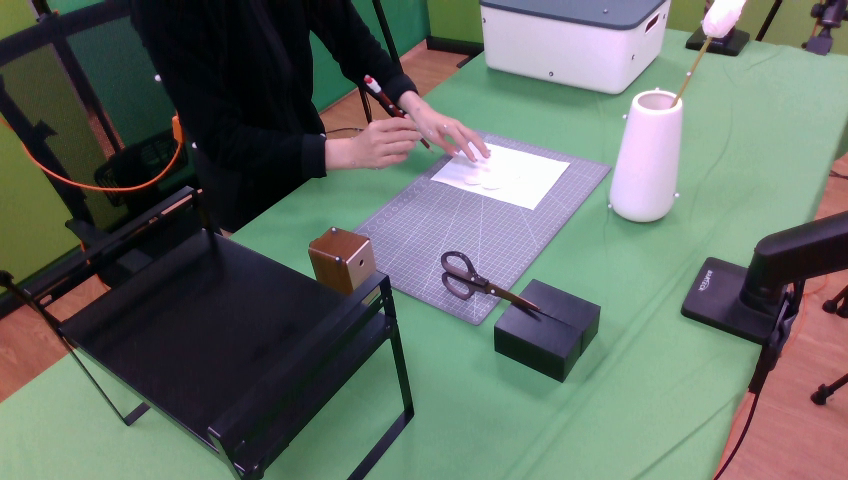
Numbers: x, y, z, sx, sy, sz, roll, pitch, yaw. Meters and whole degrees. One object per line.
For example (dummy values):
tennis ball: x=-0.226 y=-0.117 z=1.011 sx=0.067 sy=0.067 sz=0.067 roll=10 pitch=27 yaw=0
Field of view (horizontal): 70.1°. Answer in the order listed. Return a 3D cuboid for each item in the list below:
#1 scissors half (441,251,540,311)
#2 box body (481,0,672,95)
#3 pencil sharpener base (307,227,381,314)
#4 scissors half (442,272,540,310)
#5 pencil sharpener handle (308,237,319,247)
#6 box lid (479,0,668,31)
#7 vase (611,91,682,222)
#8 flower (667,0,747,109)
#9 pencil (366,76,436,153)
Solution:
scissors half: x=0.087 y=0.056 z=0.824 sx=0.013 sy=0.040 sz=0.173 roll=-30 pitch=44 yaw=-35
box body: x=0.341 y=-0.480 z=1.381 sx=0.361 sy=0.161 sz=0.255 roll=22 pitch=48 yaw=30
pencil sharpener base: x=-0.116 y=0.043 z=0.875 sx=0.076 sy=0.107 sz=0.061 roll=18 pitch=47 yaw=28
scissors half: x=0.089 y=0.074 z=0.832 sx=0.013 sy=0.040 sz=0.173 roll=-24 pitch=23 yaw=-38
pencil sharpener handle: x=-0.158 y=0.018 z=0.892 sx=0.030 sy=0.068 sz=0.036 roll=18 pitch=60 yaw=28
box lid: x=0.335 y=-0.536 z=1.331 sx=0.368 sy=0.015 sz=0.264 roll=23 pitch=49 yaw=30
vase: x=0.348 y=-0.125 z=0.935 sx=0.098 sy=0.201 sz=0.097 roll=-3 pitch=40 yaw=3
flower: x=0.354 y=-0.187 z=0.879 sx=0.038 sy=0.362 sz=0.044 roll=31 pitch=48 yaw=14
pencil: x=-0.031 y=-0.190 z=0.943 sx=0.012 sy=0.196 sz=0.012 roll=-17 pitch=55 yaw=26
